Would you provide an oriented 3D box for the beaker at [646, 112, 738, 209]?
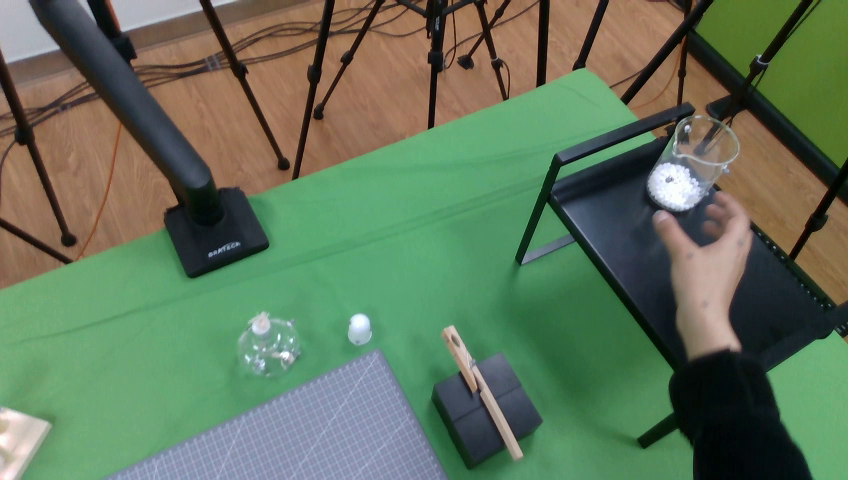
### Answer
[{"bbox_3d":[0.316,-0.091,0.731,0.084,0.101,0.073,-21,62,-16],"label":"beaker"}]

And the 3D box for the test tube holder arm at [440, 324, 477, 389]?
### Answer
[{"bbox_3d":[0.045,0.146,0.760,0.010,0.015,0.087,-16,61,-28],"label":"test tube holder arm"}]

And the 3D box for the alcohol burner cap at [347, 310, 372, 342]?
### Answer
[{"bbox_3d":[-0.087,0.113,0.813,0.034,0.048,0.033,3,58,-4],"label":"alcohol burner cap"}]

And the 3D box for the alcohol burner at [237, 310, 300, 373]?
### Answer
[{"bbox_3d":[-0.195,0.120,0.756,0.078,0.120,0.077,3,56,-4],"label":"alcohol burner"}]

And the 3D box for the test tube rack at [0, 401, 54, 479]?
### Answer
[{"bbox_3d":[-0.510,0.284,0.640,0.066,0.086,0.240,16,58,5],"label":"test tube rack"}]

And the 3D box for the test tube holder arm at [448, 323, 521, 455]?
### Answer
[{"bbox_3d":[0.071,0.179,0.744,0.013,0.015,0.177,-16,61,-28],"label":"test tube holder arm"}]
